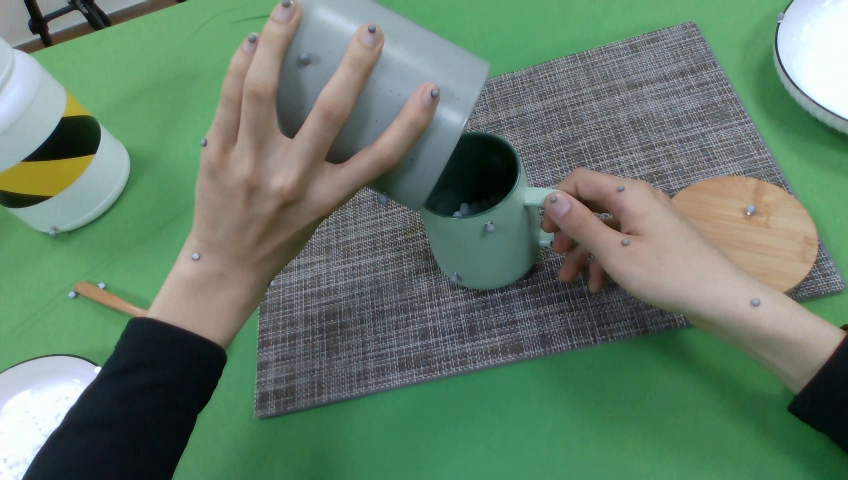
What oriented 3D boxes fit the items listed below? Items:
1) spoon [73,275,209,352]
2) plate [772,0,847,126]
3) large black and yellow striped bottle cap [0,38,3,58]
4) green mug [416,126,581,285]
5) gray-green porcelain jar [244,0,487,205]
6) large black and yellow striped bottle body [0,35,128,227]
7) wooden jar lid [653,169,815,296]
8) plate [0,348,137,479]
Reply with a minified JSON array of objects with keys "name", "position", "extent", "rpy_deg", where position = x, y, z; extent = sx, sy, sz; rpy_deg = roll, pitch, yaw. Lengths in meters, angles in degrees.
[{"name":"spoon","position":[-0.267,0.059,0.561],"extent":[0.192,0.022,0.041],"rpy_deg":[17,81,24]},{"name":"plate","position":[0.396,-0.158,0.490],"extent":[0.207,0.039,0.205],"rpy_deg":[-7,58,12]},{"name":"large black and yellow striped bottle cap","position":[-0.432,-0.152,0.538],"extent":[0.115,0.019,0.114],"rpy_deg":[-8,57,12]},{"name":"green mug","position":[0.056,-0.023,0.463],"extent":[0.125,0.106,0.092],"rpy_deg":[6,61,19]},{"name":"gray-green porcelain jar","position":[-0.040,-0.096,0.385],"extent":[0.127,0.106,0.105],"rpy_deg":[26,66,-6]},{"name":"large black and yellow striped bottle body","position":[-0.411,-0.111,0.608],"extent":[0.130,0.186,0.129],"rpy_deg":[-7,58,12]},{"name":"wooden jar lid","position":[0.228,-0.005,0.453],"extent":[0.108,0.021,0.107],"rpy_deg":[-8,58,13]},{"name":"plate","position":[-0.322,0.190,0.489],"extent":[0.209,0.038,0.207],"rpy_deg":[-7,58,12]}]
